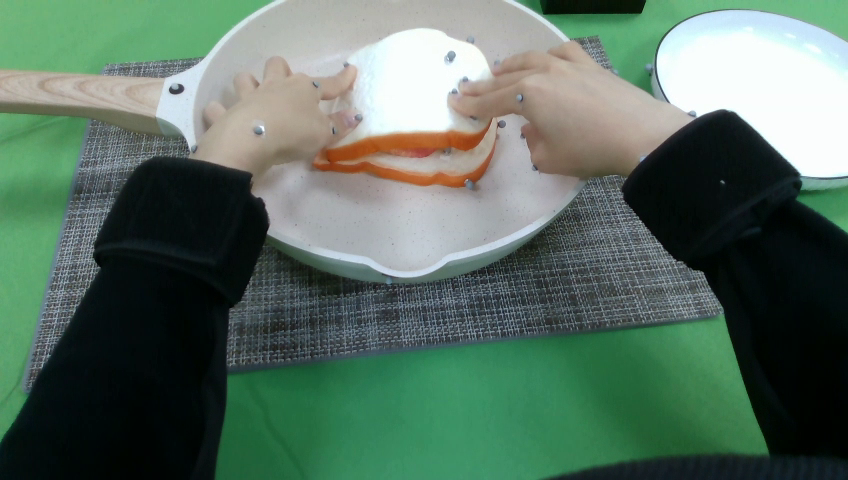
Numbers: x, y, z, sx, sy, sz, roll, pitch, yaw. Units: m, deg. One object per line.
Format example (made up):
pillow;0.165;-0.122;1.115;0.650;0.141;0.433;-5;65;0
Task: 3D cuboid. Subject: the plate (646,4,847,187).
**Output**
plate;0.290;-0.122;0.515;0.208;0.039;0.205;1;56;-2

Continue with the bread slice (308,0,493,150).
bread slice;-0.012;-0.121;0.447;0.132;0.019;0.104;9;70;-12

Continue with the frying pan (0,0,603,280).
frying pan;-0.122;-0.096;0.434;0.489;0.103;0.303;4;54;-10

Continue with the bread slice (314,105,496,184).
bread slice;-0.010;-0.089;0.483;0.134;0.018;0.106;6;58;3
